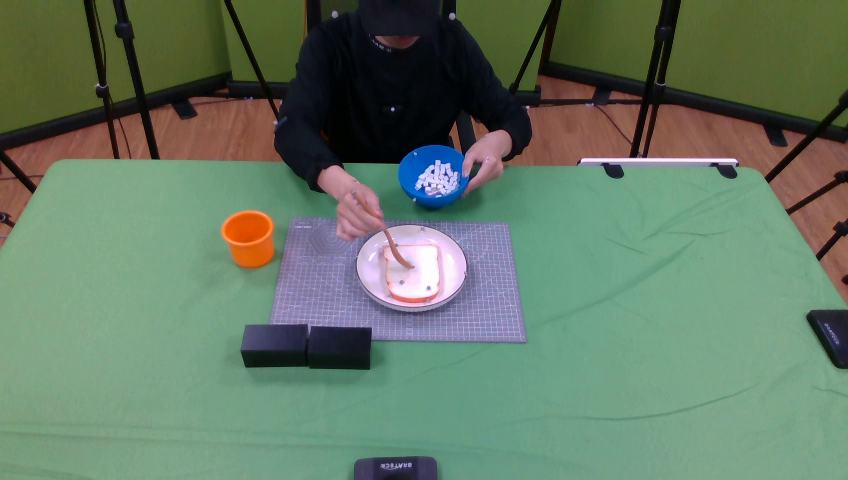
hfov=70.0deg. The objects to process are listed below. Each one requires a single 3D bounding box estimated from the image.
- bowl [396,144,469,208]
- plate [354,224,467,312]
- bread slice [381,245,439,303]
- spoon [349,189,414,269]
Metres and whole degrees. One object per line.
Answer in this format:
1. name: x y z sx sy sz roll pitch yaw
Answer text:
1. bowl: 0.020 -0.120 1.269 0.151 0.077 0.150 -2 54 3
2. plate: -0.025 0.055 1.128 0.209 0.038 0.208 3 46 -2
3. bread slice: -0.022 0.061 1.126 0.107 0.018 0.133 -3 45 -8
4. spoon: -0.074 -0.017 1.065 0.021 0.195 0.041 -37 27 -9
